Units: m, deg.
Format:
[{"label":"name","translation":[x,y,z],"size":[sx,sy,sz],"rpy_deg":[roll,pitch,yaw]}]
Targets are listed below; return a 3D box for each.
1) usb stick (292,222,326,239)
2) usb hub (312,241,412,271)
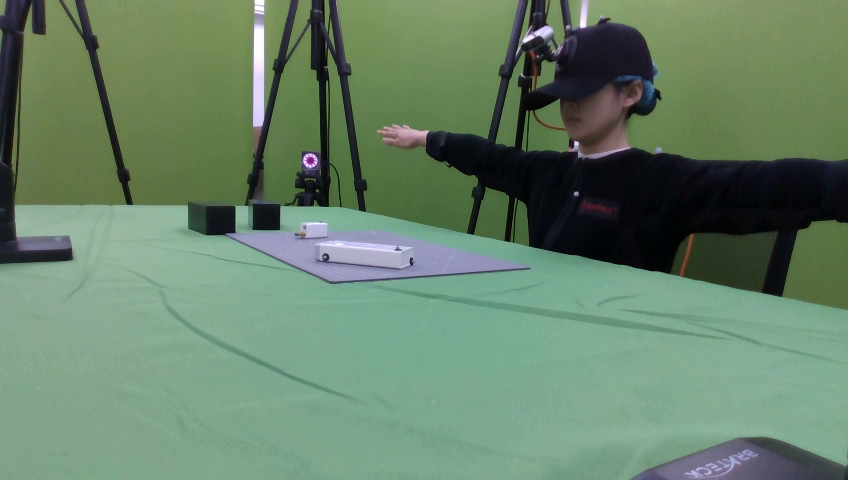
[{"label":"usb stick","translation":[-0.198,-0.016,1.036],"size":[0.021,0.027,0.059],"rpy_deg":[14,16,41]},{"label":"usb hub","translation":[-0.082,0.020,0.804],"size":[0.125,0.025,0.049],"rpy_deg":[5,8,17]}]
